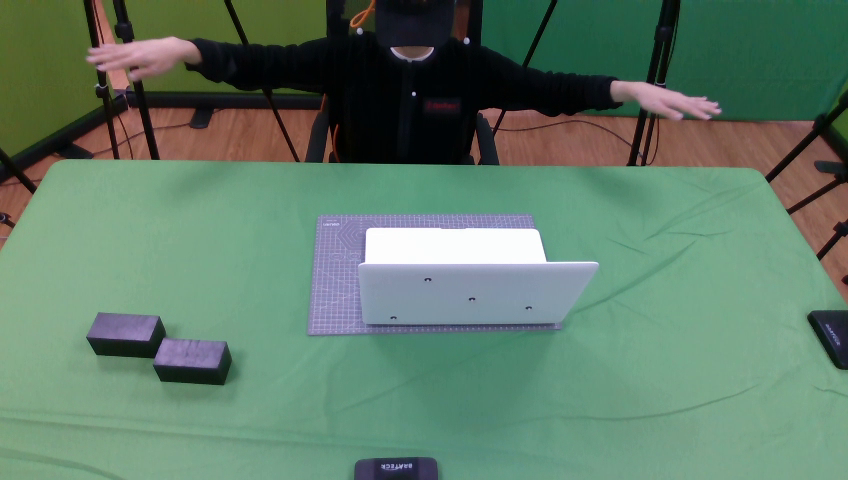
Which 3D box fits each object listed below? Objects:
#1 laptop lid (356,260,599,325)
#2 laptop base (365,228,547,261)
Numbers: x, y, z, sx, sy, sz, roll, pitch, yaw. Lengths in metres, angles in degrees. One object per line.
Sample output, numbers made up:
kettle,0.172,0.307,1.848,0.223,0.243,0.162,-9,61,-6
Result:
laptop lid,0.074,0.089,0.958,0.357,0.242,0.013,1,60,-5
laptop base,0.064,0.063,1.143,0.355,0.023,0.234,0,42,-4
